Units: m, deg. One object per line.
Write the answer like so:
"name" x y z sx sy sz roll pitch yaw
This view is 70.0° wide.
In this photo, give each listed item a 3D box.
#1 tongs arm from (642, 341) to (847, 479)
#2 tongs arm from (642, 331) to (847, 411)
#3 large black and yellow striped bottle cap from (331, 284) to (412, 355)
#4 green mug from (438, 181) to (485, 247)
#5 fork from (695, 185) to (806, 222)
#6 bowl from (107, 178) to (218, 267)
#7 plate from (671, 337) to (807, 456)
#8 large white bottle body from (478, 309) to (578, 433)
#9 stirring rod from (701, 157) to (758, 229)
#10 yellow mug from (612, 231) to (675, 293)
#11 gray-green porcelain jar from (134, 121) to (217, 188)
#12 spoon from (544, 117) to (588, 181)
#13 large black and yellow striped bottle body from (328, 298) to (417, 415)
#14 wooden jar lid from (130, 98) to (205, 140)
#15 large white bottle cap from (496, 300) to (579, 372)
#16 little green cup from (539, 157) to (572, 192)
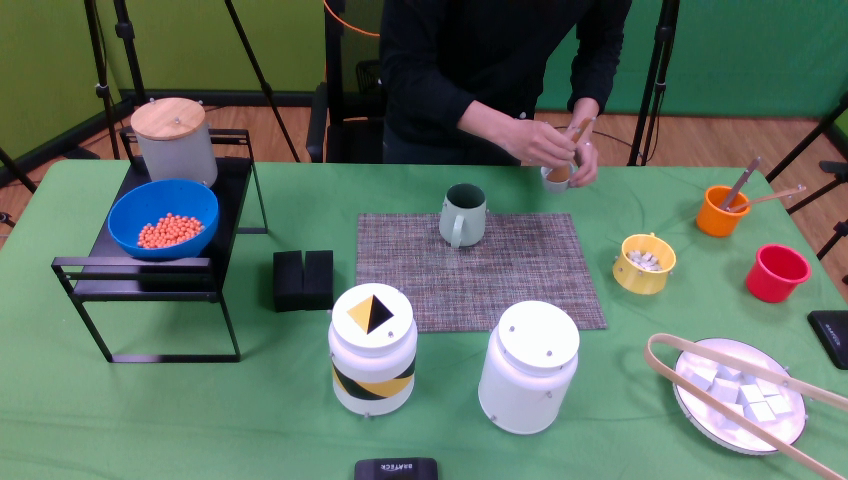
"tongs arm" 0.504 0.278 0.918 0.386 0.028 0.028 34 59 22
"tongs arm" 0.546 0.227 0.968 0.384 0.026 0.050 22 52 13
"large black and yellow striped bottle cap" -0.073 0.110 0.858 0.115 0.019 0.114 2 46 -2
"green mug" 0.071 -0.039 1.177 0.092 0.105 0.124 12 47 7
"fork" 0.658 -0.074 1.230 0.207 0.019 0.028 -23 36 37
"bowl" -0.374 -0.014 0.893 0.151 0.077 0.150 2 46 -2
"plate" 0.504 0.254 0.984 0.208 0.039 0.206 2 46 -2
"large white bottle body" 0.156 0.192 0.913 0.131 0.185 0.130 2 46 -2
"stirring rod" 0.634 -0.096 1.257 0.014 0.006 0.176 38 97 30
"yellow mug" 0.424 0.033 1.168 0.100 0.064 0.130 18 47 13
"gray-green porcelain jar" -0.397 -0.141 0.979 0.106 0.127 0.105 2 47 -2
"spoon" 0.249 -0.155 1.059 0.041 0.194 0.021 7 60 -1
"large black and yellow striped bottle body" -0.078 0.167 0.920 0.131 0.185 0.130 2 46 -2
"wooden jar lid" -0.393 -0.183 0.934 0.108 0.021 0.107 2 44 -2
"large white bottle cap" 0.160 0.133 0.852 0.115 0.018 0.114 3 46 -3
"little green cup" 0.249 -0.122 1.152 0.061 0.039 0.061 -5 55 8
